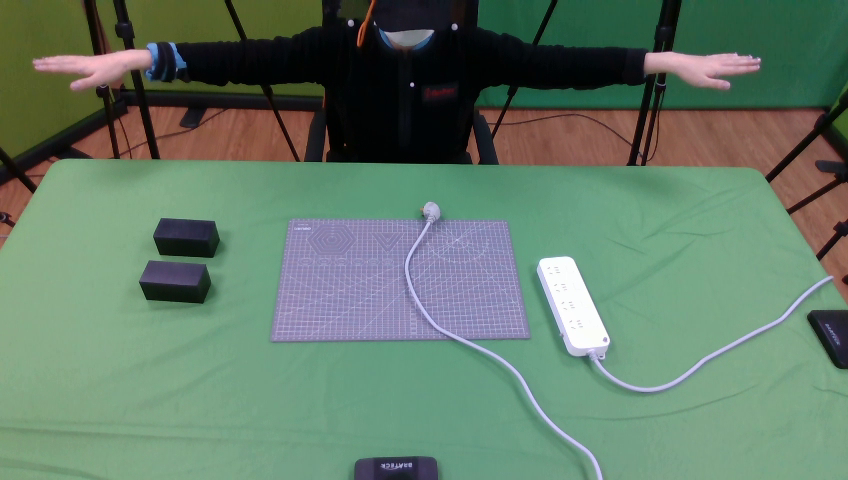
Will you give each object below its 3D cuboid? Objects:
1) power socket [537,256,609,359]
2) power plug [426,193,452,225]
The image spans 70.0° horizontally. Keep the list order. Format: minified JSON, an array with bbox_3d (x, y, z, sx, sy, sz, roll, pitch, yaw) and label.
[{"bbox_3d":[0.266,0.115,1.097,0.072,0.033,0.225,-5,47,-8],"label":"power socket"},{"bbox_3d":[0.032,-0.061,1.228,0.035,0.072,0.052,-23,93,-35],"label":"power plug"}]
